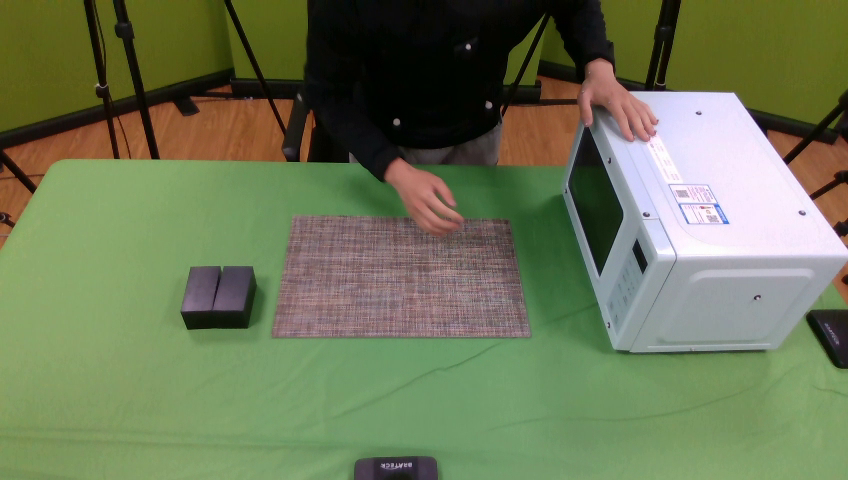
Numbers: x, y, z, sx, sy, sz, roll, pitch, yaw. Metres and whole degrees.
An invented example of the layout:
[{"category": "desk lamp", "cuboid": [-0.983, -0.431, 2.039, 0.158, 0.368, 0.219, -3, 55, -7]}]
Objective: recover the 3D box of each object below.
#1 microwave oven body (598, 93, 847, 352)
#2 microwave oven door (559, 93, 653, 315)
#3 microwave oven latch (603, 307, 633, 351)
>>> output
[{"category": "microwave oven body", "cuboid": [0.475, -0.042, 1.109, 0.326, 0.261, 0.438, -1, 45, -4]}, {"category": "microwave oven door", "cuboid": [0.327, -0.074, 1.123, 0.039, 0.245, 0.353, -1, 46, -5]}, {"category": "microwave oven latch", "cuboid": [0.332, 0.152, 1.044, 0.030, 0.029, 0.078, 0, 45, -3]}]
